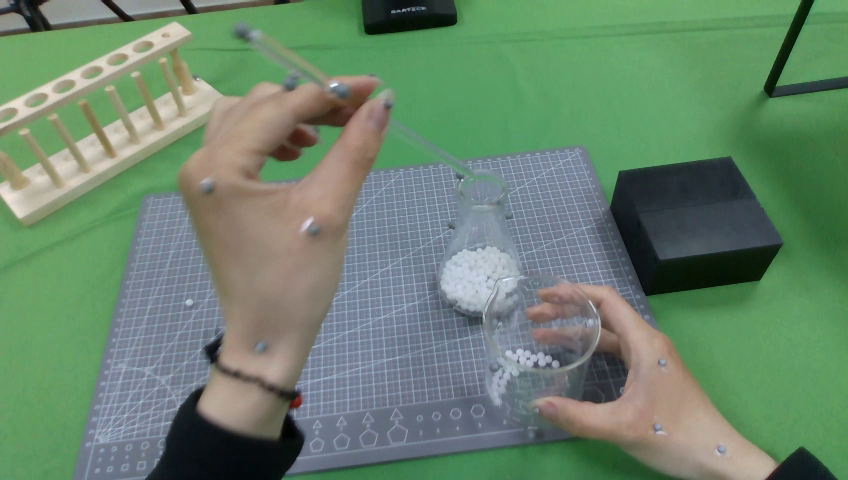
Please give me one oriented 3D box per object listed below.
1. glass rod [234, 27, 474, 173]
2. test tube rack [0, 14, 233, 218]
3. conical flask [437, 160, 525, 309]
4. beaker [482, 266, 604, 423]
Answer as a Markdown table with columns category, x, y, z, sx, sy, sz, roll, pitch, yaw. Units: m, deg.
| category | x | y | z | sx | sy | sz | roll | pitch | yaw |
| --- | --- | --- | --- | --- | --- | --- | --- | --- | --- |
| glass rod | -0.018 | -0.060 | 0.306 | 0.008 | 0.201 | 0.008 | -5 | 79 | 29 |
| test tube rack | -0.330 | -0.133 | 0.627 | 0.242 | 0.086 | 0.066 | -39 | 59 | -24 |
| conical flask | 0.045 | -0.006 | 0.474 | 0.075 | 0.123 | 0.074 | -2 | 52 | 3 |
| beaker | 0.076 | 0.075 | 0.422 | 0.074 | 0.101 | 0.083 | -29 | 54 | -17 |
